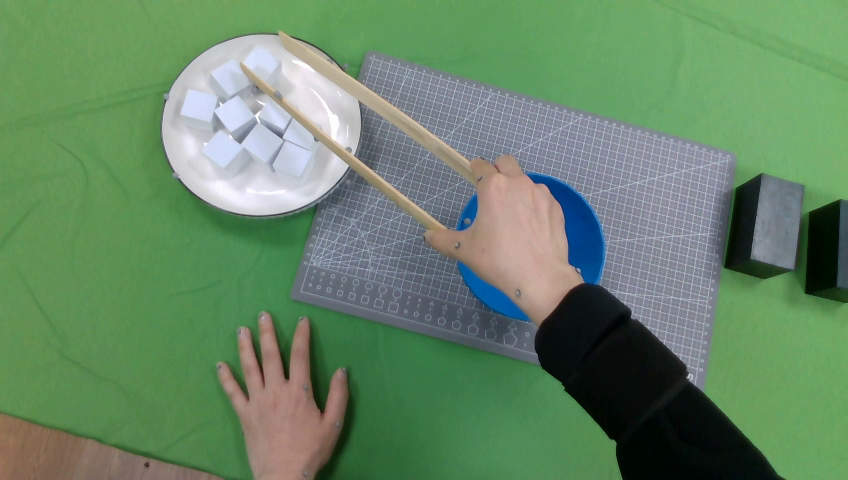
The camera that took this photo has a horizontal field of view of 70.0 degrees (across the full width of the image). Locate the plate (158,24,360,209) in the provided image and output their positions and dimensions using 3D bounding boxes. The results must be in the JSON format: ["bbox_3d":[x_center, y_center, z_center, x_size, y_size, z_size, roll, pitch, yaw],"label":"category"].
[{"bbox_3d":[-0.173,-0.130,0.650,0.208,0.039,0.206,1,77,-4],"label":"plate"}]

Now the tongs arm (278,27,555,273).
[{"bbox_3d":[-0.022,-0.102,0.564,0.028,0.028,0.384,-39,64,-20],"label":"tongs arm"}]

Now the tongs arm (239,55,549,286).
[{"bbox_3d":[-0.045,-0.081,0.555,0.051,0.027,0.381,-39,64,-16],"label":"tongs arm"}]

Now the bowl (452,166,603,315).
[{"bbox_3d":[0.098,0.007,0.624,0.151,0.077,0.150,1,77,-6],"label":"bowl"}]
